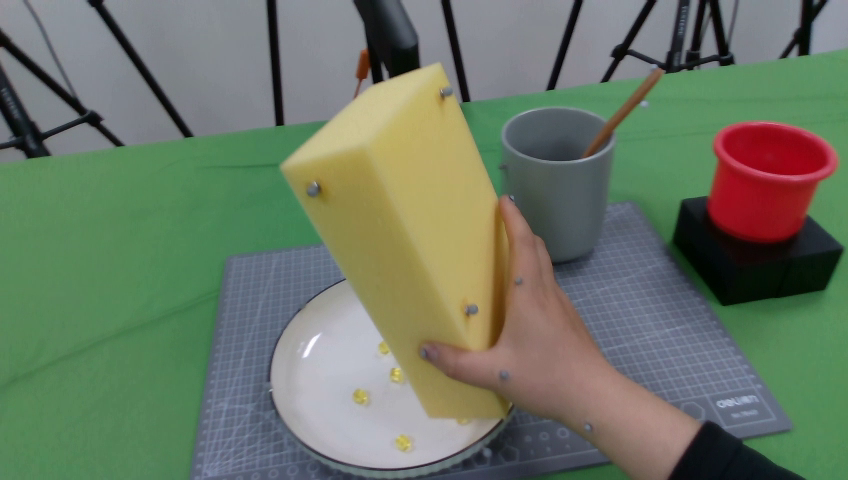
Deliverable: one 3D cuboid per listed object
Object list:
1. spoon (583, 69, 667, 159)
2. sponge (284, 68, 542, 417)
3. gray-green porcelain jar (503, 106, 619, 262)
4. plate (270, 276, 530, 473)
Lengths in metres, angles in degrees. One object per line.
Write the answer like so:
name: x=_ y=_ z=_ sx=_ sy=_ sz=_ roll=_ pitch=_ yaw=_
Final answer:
spoon: x=0.158 y=-0.077 z=0.566 sx=0.022 sy=0.194 sz=0.041 roll=24 pitch=35 yaw=-9
sponge: x=0.008 y=0.007 z=0.407 sx=0.060 sy=0.209 sz=0.117 roll=-9 pitch=33 yaw=30
gray-green porcelain jar: x=0.130 y=-0.050 z=0.595 sx=0.106 sy=0.127 sz=0.105 roll=-3 pitch=40 yaw=3
plate: x=-0.018 y=0.099 z=0.498 sx=0.207 sy=0.039 sz=0.205 roll=-2 pitch=40 yaw=2
